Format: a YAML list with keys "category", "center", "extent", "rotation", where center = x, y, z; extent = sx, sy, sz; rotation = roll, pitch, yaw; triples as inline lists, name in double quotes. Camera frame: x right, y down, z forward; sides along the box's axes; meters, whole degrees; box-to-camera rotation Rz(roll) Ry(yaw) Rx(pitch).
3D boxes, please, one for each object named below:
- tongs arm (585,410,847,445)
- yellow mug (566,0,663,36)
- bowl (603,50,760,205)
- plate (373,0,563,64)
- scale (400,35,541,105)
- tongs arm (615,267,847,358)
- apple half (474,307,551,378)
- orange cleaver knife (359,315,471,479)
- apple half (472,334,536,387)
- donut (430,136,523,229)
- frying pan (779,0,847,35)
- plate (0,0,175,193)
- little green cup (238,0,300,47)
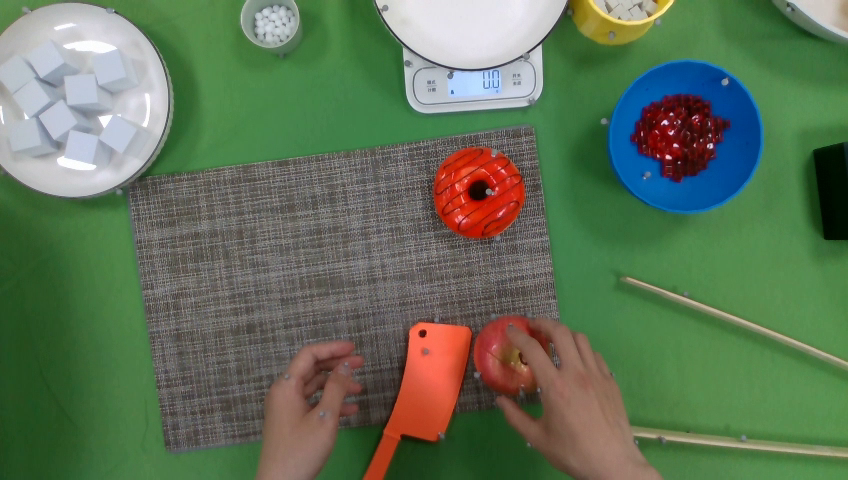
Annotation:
- category: "tongs arm"
  center: [0.369, 0.190, 0.653]
  extent: [0.385, 0.026, 0.050]
  rotation: [7, 87, 0]
- category: "yellow mug"
  center: [0.192, -0.283, 0.626]
  extent: [0.100, 0.064, 0.131]
  rotation: [-40, 90, 2]
- category: "bowl"
  center: [0.252, -0.110, 0.624]
  extent: [0.151, 0.077, 0.151]
  rotation: [0, 92, 1]
- category: "plate"
  center: [0.043, -0.280, 0.611]
  extent: [0.209, 0.038, 0.209]
  rotation: [0, 92, 0]
- category: "scale"
  center: [0.046, -0.250, 0.645]
  extent: [0.149, 0.031, 0.201]
  rotation: [-4, 92, 1]
- category: "tongs arm"
  center: [0.388, 0.106, 0.654]
  extent: [0.387, 0.028, 0.028]
  rotation: [22, 83, 0]
- category: "apple half"
  center: [0.098, 0.098, 0.630]
  extent: [0.081, 0.075, 0.053]
  rotation: [34, 88, 3]
- category: "orange cleaver knife"
  center: [-0.010, 0.178, 0.659]
  extent: [0.077, 0.012, 0.211]
  rotation: [21, 89, -6]
- category: "apple half"
  center: [0.075, 0.131, 0.629]
  extent: [0.081, 0.081, 0.033]
  rotation: [36, 87, 0]
- category: "donut"
  center: [0.054, -0.060, 0.640]
  extent: [0.099, 0.048, 0.099]
  rotation: [0, 92, 2]
- category: "frying pan"
  center: [0.522, -0.261, 0.605]
  extent: [0.307, 0.103, 0.486]
  rotation: [-35, 83, 2]
- category: "plate"
  center: [-0.367, -0.153, 0.648]
  extent: [0.208, 0.039, 0.207]
  rotation: [0, 91, 0]
- category: "little green cup"
  center: [-0.162, -0.236, 0.643]
  extent: [0.061, 0.038, 0.061]
  rotation: [0, 91, 1]
